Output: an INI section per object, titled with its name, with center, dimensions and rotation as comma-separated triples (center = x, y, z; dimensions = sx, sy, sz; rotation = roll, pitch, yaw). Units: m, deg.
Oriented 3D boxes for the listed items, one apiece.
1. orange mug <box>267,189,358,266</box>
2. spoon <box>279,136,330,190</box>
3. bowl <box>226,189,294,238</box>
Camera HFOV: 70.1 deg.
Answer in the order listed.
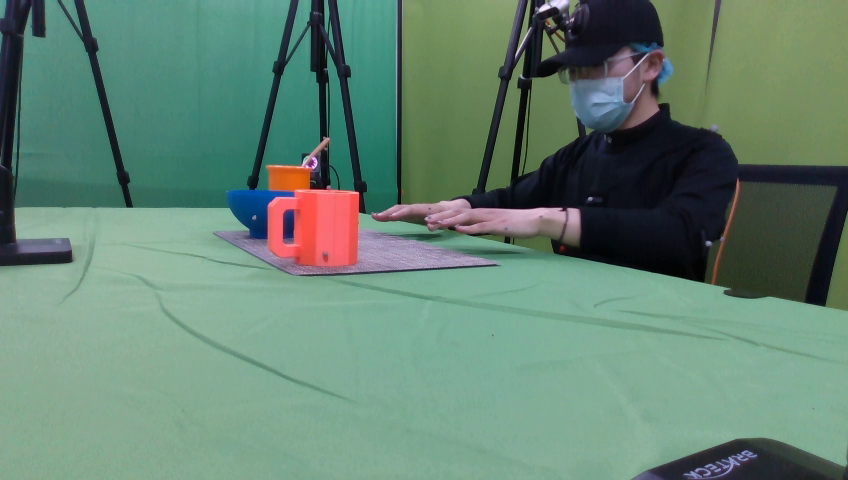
[orange mug]
center = -0.145, -0.019, 0.797
dimensions = 0.127, 0.100, 0.083
rotation = 2, 6, -37
[spoon]
center = -0.245, -0.150, 1.234
dimensions = 0.041, 0.194, 0.022
rotation = 8, -35, 33
[bowl]
center = -0.264, -0.046, 1.050
dimensions = 0.151, 0.077, 0.151
rotation = 2, 7, 0
